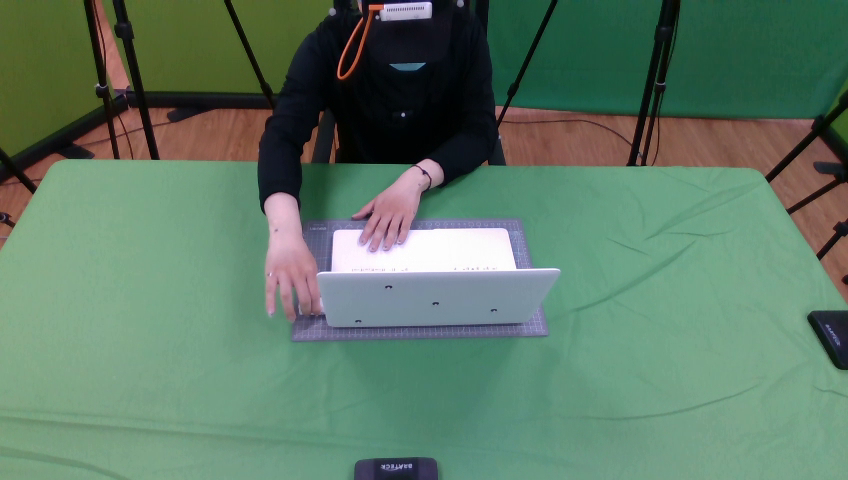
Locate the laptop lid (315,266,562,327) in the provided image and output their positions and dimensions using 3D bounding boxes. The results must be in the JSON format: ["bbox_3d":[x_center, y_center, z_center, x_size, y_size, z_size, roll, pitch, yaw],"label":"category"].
[{"bbox_3d":[0.018,0.094,0.949,0.357,0.242,0.013,0,64,-6],"label":"laptop lid"}]

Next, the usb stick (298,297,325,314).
[{"bbox_3d":[-0.188,0.115,1.057,0.059,0.027,0.021,2,47,-5],"label":"usb stick"}]

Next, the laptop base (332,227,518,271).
[{"bbox_3d":[0.004,0.062,1.136,0.355,0.023,0.234,-1,43,-5],"label":"laptop base"}]
